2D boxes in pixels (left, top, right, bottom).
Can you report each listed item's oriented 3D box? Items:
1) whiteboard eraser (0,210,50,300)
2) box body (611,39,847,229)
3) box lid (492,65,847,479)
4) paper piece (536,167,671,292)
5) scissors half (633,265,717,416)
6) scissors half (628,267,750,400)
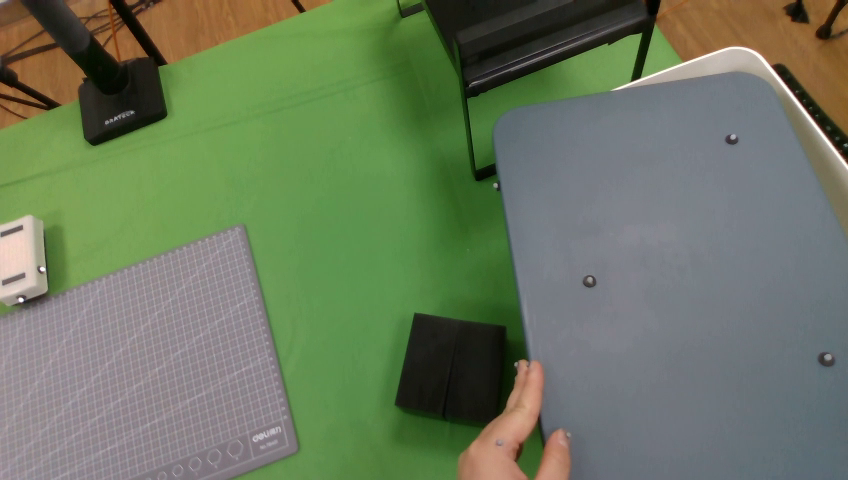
[{"bbox_3d":[-0.518,0.019,0.785,0.055,0.042,0.111,-22,66,0],"label":"whiteboard eraser"},{"bbox_3d":[0.278,0.019,0.598,0.254,0.162,0.360,-22,65,-1],"label":"box body"},{"bbox_3d":[0.204,0.006,0.493,0.263,0.015,0.368,-8,60,4],"label":"box lid"},{"bbox_3d":[0.212,-0.015,0.716,0.136,0.009,0.137,-10,78,-3],"label":"paper piece"},{"bbox_3d":[0.257,0.101,0.641,0.040,0.013,0.173,-14,60,1],"label":"scissors half"},{"bbox_3d":[0.277,0.093,0.643,0.040,0.013,0.173,-30,62,-14],"label":"scissors half"}]
